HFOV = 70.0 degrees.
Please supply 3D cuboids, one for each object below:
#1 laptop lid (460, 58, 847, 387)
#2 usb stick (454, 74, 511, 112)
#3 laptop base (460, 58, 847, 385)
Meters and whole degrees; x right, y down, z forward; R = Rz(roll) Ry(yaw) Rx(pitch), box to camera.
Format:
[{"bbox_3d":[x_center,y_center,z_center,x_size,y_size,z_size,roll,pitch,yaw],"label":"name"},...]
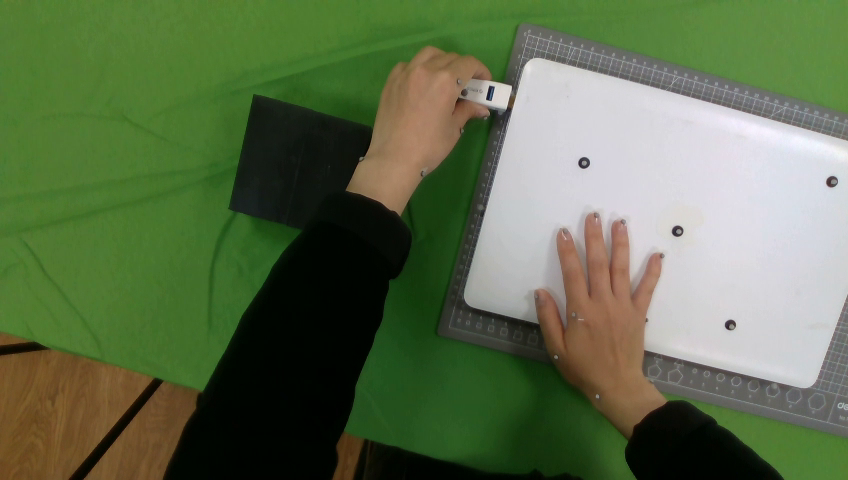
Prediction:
[{"bbox_3d":[0.229,-0.008,0.559,0.357,0.013,0.242,16,99,-3],"label":"laptop lid"},{"bbox_3d":[0.058,-0.129,0.539,0.059,0.027,0.021,13,93,-4],"label":"usb stick"},{"bbox_3d":[0.229,-0.012,0.570,0.355,0.023,0.236,14,99,-3],"label":"laptop base"}]
